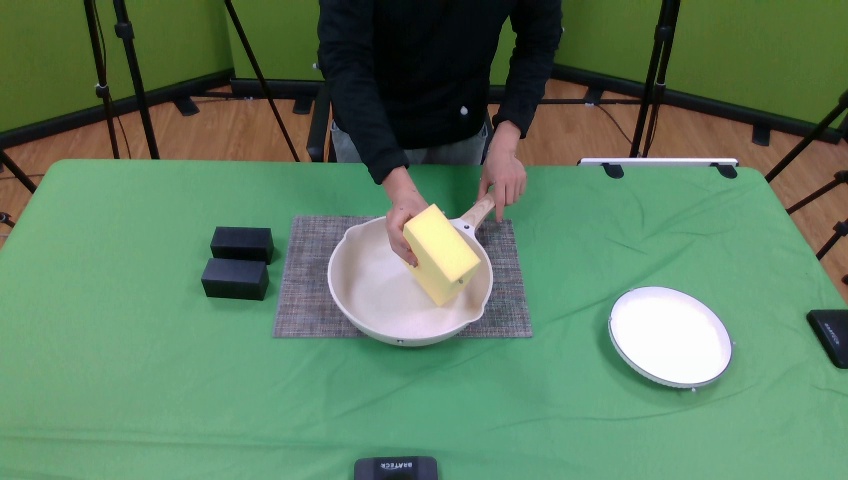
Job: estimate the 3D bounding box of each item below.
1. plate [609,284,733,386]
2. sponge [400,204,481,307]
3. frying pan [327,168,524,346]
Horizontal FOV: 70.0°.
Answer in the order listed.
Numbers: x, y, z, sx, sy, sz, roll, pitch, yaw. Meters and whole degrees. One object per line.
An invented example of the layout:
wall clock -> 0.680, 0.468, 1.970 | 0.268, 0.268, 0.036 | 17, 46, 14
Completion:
plate -> 0.425, 0.167, 1.059 | 0.208, 0.039, 0.206 | 2, 46, -2
sponge -> 0.021, 0.033, 1.015 | 0.061, 0.207, 0.118 | -36, 79, -13
frying pan -> 0.042, 0.009, 1.132 | 0.305, 0.103, 0.487 | 34, 61, 24
